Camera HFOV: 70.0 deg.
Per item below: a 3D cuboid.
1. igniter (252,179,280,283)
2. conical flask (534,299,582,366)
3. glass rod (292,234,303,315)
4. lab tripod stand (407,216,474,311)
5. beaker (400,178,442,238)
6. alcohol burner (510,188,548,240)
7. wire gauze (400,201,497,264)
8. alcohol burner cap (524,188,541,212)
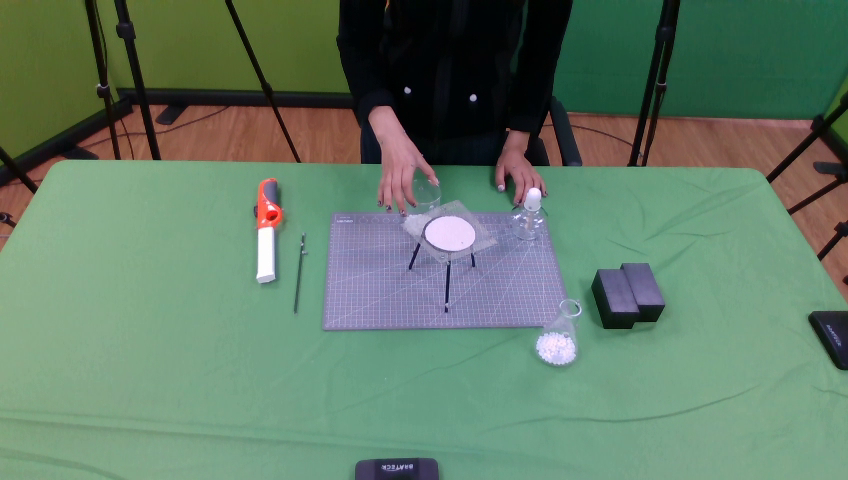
[{"bbox_3d":[-0.313,-0.027,1.197,0.057,0.025,0.274,-12,47,-1],"label":"igniter"},{"bbox_3d":[0.229,0.149,1.005,0.075,0.122,0.075,2,46,-2],"label":"conical flask"},{"bbox_3d":[-0.236,0.059,1.133,0.008,0.008,0.198,-1,46,-4],"label":"glass rod"},{"bbox_3d":[0.039,0.030,1.093,0.148,0.132,0.147,2,44,-2],"label":"lab tripod stand"},{"bbox_3d":[-0.009,-0.059,1.200,0.084,0.101,0.073,-15,48,-17],"label":"beaker"},{"bbox_3d":[0.211,-0.057,1.204,0.078,0.120,0.077,1,47,-1],"label":"alcohol burner"},{"bbox_3d":[0.042,-0.014,1.042,0.125,0.011,0.120,-22,50,-25],"label":"wire gauze"},{"bbox_3d":[0.212,-0.081,1.177,0.034,0.048,0.033,-2,54,3],"label":"alcohol burner cap"}]
